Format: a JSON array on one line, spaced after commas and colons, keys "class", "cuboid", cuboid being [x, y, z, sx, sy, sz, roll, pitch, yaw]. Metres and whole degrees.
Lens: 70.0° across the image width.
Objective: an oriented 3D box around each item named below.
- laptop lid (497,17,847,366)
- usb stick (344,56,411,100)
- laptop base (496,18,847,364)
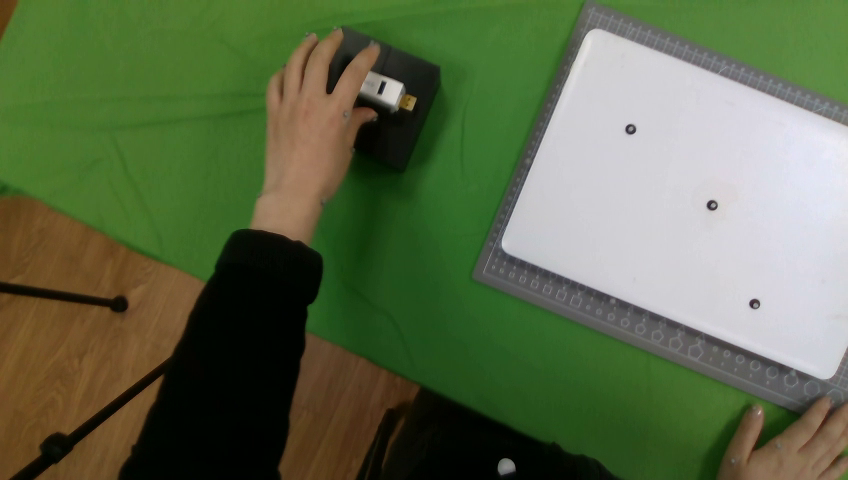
[{"class": "laptop lid", "cuboid": [0.273, -0.044, 0.589, 0.357, 0.013, 0.242, 23, 95, 0]}, {"class": "usb stick", "cuboid": [-0.041, -0.145, 0.550, 0.059, 0.027, 0.021, 22, 92, -2]}, {"class": "laptop base", "cuboid": [0.274, -0.047, 0.600, 0.354, 0.023, 0.235, 21, 96, 0]}]
